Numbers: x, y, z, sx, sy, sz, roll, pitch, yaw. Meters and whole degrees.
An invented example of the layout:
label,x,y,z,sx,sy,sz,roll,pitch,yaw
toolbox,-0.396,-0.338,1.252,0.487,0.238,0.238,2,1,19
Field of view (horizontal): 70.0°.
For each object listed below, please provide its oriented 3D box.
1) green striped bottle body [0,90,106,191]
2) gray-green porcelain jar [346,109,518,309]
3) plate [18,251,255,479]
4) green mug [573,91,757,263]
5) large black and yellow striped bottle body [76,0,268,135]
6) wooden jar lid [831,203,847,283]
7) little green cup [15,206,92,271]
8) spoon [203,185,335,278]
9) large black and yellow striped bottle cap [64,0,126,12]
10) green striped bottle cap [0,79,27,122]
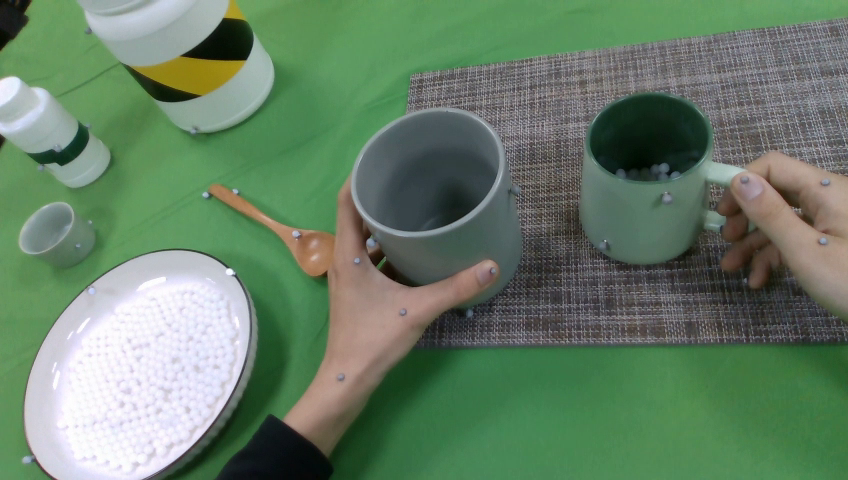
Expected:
label,x,y,z,sx,sy,sz,roll,pitch,yaw
green striped bottle body,-0.402,-0.109,0.637,0.063,0.120,0.062,-8,58,13
gray-green porcelain jar,0.013,-0.015,0.447,0.105,0.128,0.105,-7,59,12
plate,-0.234,0.107,0.508,0.209,0.038,0.207,-7,58,12
green mug,0.169,-0.038,0.432,0.124,0.106,0.092,18,66,24
large black and yellow striped bottle body,-0.257,-0.211,0.616,0.130,0.186,0.129,-7,58,12
wooden jar lid,0.333,0.010,0.405,0.108,0.021,0.107,-8,59,14
little green cup,-0.372,0.000,0.612,0.061,0.039,0.061,-8,57,12
spoon,-0.150,-0.016,0.566,0.192,0.022,0.041,29,88,28
large black and yellow striped bottle cap,-0.279,-0.251,0.546,0.115,0.019,0.114,-7,57,12
green striped bottle cap,-0.415,-0.136,0.594,0.044,0.020,0.044,-6,60,10
